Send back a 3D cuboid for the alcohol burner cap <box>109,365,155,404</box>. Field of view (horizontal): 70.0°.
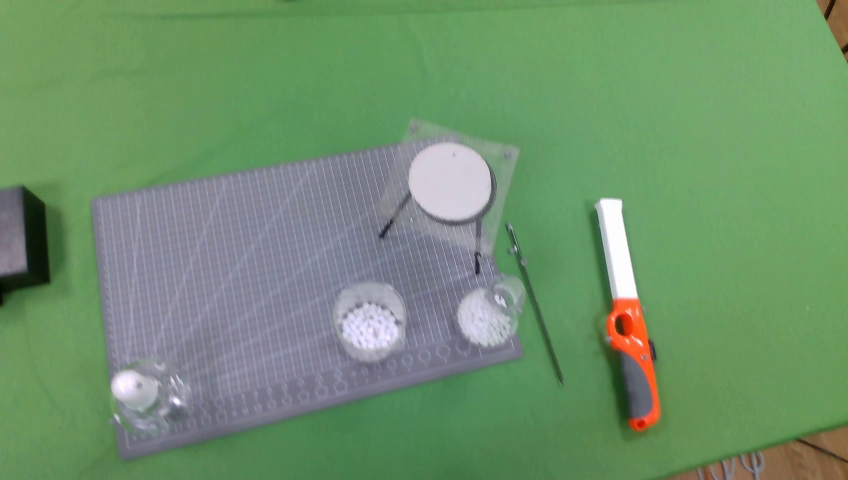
[{"bbox_3d":[-0.275,0.133,0.567,0.034,0.048,0.033,3,63,-6],"label":"alcohol burner cap"}]

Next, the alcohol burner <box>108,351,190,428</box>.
[{"bbox_3d":[-0.278,0.146,0.601,0.078,0.119,0.077,1,72,-4],"label":"alcohol burner"}]

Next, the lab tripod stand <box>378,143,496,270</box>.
[{"bbox_3d":[0.021,-0.038,0.685,0.148,0.132,0.147,1,73,-4],"label":"lab tripod stand"}]

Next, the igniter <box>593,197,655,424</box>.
[{"bbox_3d":[0.239,0.078,0.729,0.057,0.025,0.274,2,71,-16],"label":"igniter"}]

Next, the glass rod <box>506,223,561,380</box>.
[{"bbox_3d":[0.130,0.070,0.730,0.008,0.008,0.198,-13,73,-11],"label":"glass rod"}]

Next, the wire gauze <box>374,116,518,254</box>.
[{"bbox_3d":[0.025,-0.061,0.622,0.125,0.011,0.121,19,72,1],"label":"wire gauze"}]

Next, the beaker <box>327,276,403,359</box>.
[{"bbox_3d":[-0.060,0.089,0.651,0.084,0.100,0.074,40,72,8],"label":"beaker"}]

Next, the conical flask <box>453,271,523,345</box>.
[{"bbox_3d":[0.076,0.069,0.661,0.075,0.122,0.075,2,71,-5],"label":"conical flask"}]
